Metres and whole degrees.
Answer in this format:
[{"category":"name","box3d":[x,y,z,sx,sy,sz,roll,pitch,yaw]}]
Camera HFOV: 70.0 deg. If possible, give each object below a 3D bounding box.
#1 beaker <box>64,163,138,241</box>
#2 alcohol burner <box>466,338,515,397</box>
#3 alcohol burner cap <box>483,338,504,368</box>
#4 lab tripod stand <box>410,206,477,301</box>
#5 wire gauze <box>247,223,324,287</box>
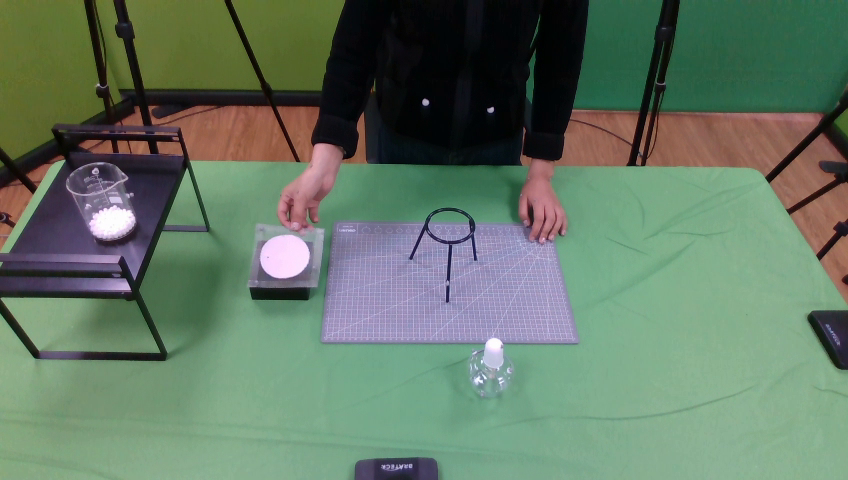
[{"category":"beaker","box3d":[-0.478,-0.055,0.910,0.084,0.101,0.073,-9,48,-13]},{"category":"alcohol burner","box3d":[0.106,0.195,0.952,0.078,0.120,0.077,1,46,0]},{"category":"alcohol burner cap","box3d":[0.108,0.170,0.928,0.034,0.048,0.033,-1,41,1]},{"category":"lab tripod stand","box3d":[0.040,0.015,1.101,0.148,0.132,0.147,1,47,-1]},{"category":"wire gauze","box3d":[-0.244,0.026,1.074,0.121,0.011,0.124,4,63,-6]}]
